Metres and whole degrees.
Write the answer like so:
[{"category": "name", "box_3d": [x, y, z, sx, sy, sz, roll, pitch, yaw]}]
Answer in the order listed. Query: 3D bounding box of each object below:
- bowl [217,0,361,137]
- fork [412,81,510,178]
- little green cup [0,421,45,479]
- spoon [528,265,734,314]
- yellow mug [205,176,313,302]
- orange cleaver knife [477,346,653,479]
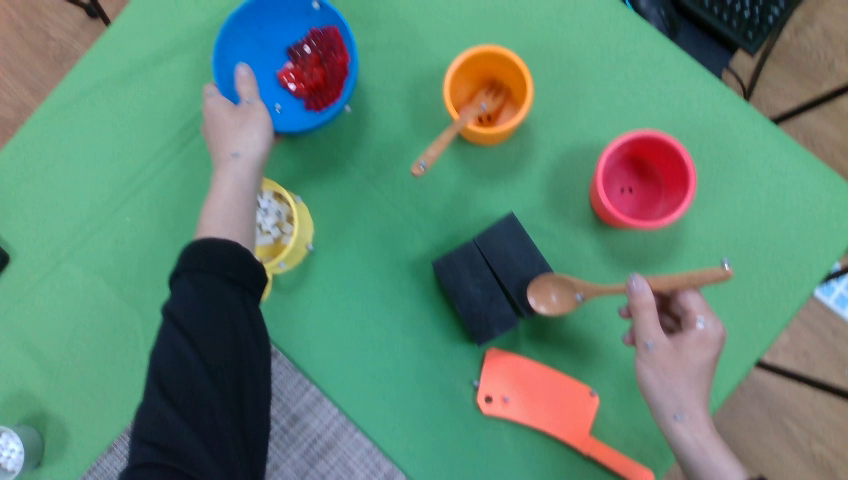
[{"category": "bowl", "box_3d": [-0.139, -0.180, 0.664, 0.151, 0.077, 0.151, 0, 86, 1]}, {"category": "fork", "box_3d": [0.041, -0.116, 0.614, 0.028, 0.019, 0.206, 36, 44, 5]}, {"category": "little green cup", "box_3d": [-0.454, 0.228, 0.665, 0.061, 0.039, 0.061, 0, 85, 3]}, {"category": "spoon", "box_3d": [0.175, 0.042, 0.541, 0.022, 0.193, 0.041, -19, 95, -42]}, {"category": "yellow mug", "box_3d": [-0.176, 0.002, 0.657, 0.100, 0.064, 0.130, -1, 85, 3]}, {"category": "orange cleaver knife", "box_3d": [0.152, 0.184, 0.647, 0.211, 0.012, 0.077, 26, 83, 6]}]
